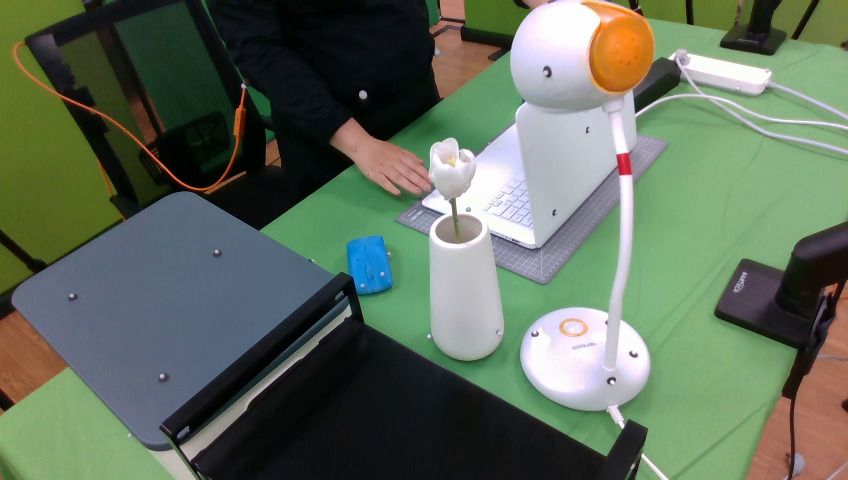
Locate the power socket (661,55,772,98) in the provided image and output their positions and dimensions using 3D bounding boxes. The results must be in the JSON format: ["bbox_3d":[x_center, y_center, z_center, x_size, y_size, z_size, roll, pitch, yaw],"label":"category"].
[{"bbox_3d":[0.619,-0.353,1.289,0.225,0.033,0.072,26,52,33],"label":"power socket"}]

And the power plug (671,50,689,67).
[{"bbox_3d":[0.540,-0.379,1.302,0.073,0.053,0.035,-31,46,-22],"label":"power plug"}]

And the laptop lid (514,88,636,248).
[{"bbox_3d":[0.256,-0.174,0.959,0.013,0.243,0.358,14,42,39],"label":"laptop lid"}]

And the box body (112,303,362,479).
[{"bbox_3d":[-0.285,0.123,0.766,0.361,0.161,0.255,25,49,33],"label":"box body"}]

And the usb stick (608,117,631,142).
[{"bbox_3d":[0.370,-0.207,1.147,0.021,0.027,0.059,27,55,32],"label":"usb stick"}]

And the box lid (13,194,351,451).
[{"bbox_3d":[-0.292,0.067,0.717,0.368,0.015,0.264,25,50,33],"label":"box lid"}]

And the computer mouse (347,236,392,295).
[{"bbox_3d":[-0.086,0.035,0.936,0.063,0.041,0.116,-8,44,-5],"label":"computer mouse"}]

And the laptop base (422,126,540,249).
[{"bbox_3d":[0.192,-0.116,1.087,0.233,0.023,0.355,21,48,34],"label":"laptop base"}]

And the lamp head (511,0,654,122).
[{"bbox_3d":[0.155,-0.168,0.564,0.113,0.113,0.122,-18,23,-12],"label":"lamp head"}]

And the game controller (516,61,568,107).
[{"bbox_3d":[0.259,-0.352,1.336,0.097,0.052,0.154,-3,41,2],"label":"game controller"}]

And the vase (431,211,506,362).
[{"bbox_3d":[0.054,0.062,0.757,0.098,0.201,0.097,-3,40,3],"label":"vase"}]

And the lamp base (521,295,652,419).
[{"bbox_3d":[0.200,0.095,0.710,0.161,0.181,0.177,-16,43,-10],"label":"lamp base"}]

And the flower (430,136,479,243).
[{"bbox_3d":[0.041,0.011,0.691,0.044,0.363,0.038,15,62,13],"label":"flower"}]
